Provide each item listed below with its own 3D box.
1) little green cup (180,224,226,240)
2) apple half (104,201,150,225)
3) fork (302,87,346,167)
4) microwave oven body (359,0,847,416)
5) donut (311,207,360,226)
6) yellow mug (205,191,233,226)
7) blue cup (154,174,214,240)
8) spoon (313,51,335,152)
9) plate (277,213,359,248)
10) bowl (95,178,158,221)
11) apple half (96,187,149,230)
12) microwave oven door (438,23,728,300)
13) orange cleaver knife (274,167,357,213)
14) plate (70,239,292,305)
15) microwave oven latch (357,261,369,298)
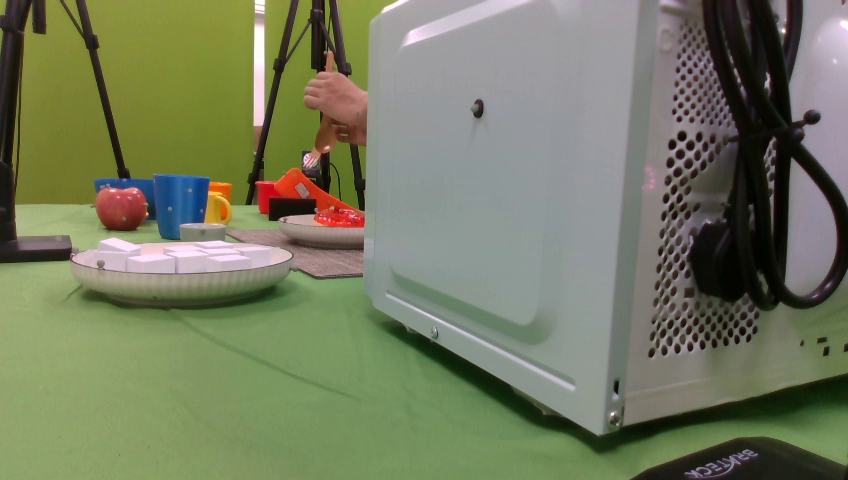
[{"bbox_3d":[-0.309,-0.001,0.846,0.061,0.038,0.061,2,8,0],"label":"little green cup"},{"bbox_3d":[-0.548,-0.044,1.115,0.081,0.033,0.081,18,6,-2],"label":"apple half"},{"bbox_3d":[-0.217,-0.248,1.328,0.028,0.207,0.019,14,-13,30],"label":"fork"},{"bbox_3d":[0.211,-0.047,0.474,0.444,0.260,0.324,-1,7,-28],"label":"microwave oven body"},{"bbox_3d":[-0.137,-0.029,0.995,0.099,0.048,0.099,4,9,0],"label":"donut"},{"bbox_3d":[-0.415,-0.057,1.132,0.130,0.064,0.100,6,8,16],"label":"yellow mug"},{"bbox_3d":[-0.391,-0.054,0.978,0.093,0.100,0.092,4,6,0],"label":"blue cup"},{"bbox_3d":[-0.180,-0.256,1.118,0.041,0.193,0.022,3,-2,14],"label":"spoon"},{"bbox_3d":[-0.135,-0.017,0.992,0.209,0.038,0.209,2,8,0],"label":"plate"},{"bbox_3d":[-0.576,-0.081,1.217,0.151,0.077,0.151,3,7,0],"label":"bowl"},{"bbox_3d":[-0.516,-0.052,1.036,0.081,0.074,0.053,3,11,-26],"label":"apple half"},{"bbox_3d":[0.181,-0.072,0.621,0.358,0.243,0.039,-2,8,-29],"label":"microwave oven door"},{"bbox_3d":[-0.238,-0.090,1.381,0.212,0.077,0.012,31,0,-19],"label":"orange cleaver knife"},{"bbox_3d":[-0.242,0.031,0.618,0.208,0.039,0.207,2,8,0],"label":"plate"},{"bbox_3d":[-0.019,0.033,0.530,0.079,0.029,0.030,0,7,-25],"label":"microwave oven latch"}]
